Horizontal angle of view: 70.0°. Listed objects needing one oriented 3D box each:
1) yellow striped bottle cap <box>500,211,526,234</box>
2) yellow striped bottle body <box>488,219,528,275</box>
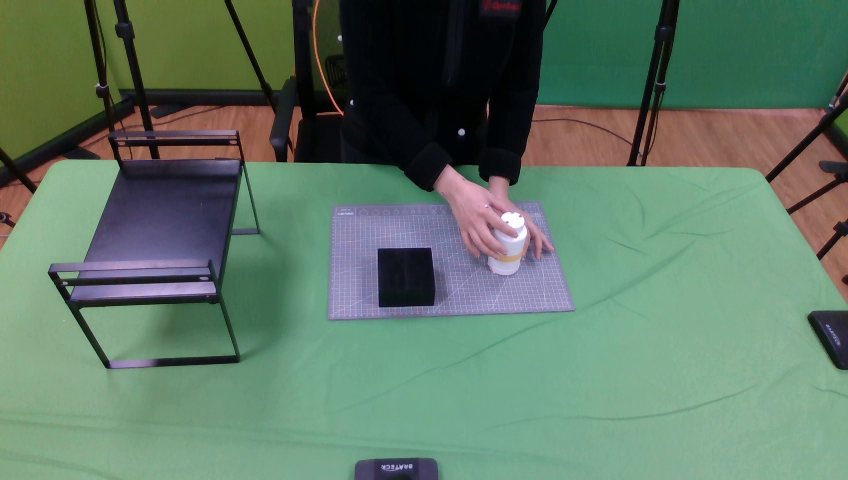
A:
[{"bbox_3d":[0.161,-0.032,1.093,0.044,0.019,0.044,2,43,-1],"label":"yellow striped bottle cap"},{"bbox_3d":[0.158,0.004,1.131,0.063,0.121,0.062,2,46,-2],"label":"yellow striped bottle body"}]
